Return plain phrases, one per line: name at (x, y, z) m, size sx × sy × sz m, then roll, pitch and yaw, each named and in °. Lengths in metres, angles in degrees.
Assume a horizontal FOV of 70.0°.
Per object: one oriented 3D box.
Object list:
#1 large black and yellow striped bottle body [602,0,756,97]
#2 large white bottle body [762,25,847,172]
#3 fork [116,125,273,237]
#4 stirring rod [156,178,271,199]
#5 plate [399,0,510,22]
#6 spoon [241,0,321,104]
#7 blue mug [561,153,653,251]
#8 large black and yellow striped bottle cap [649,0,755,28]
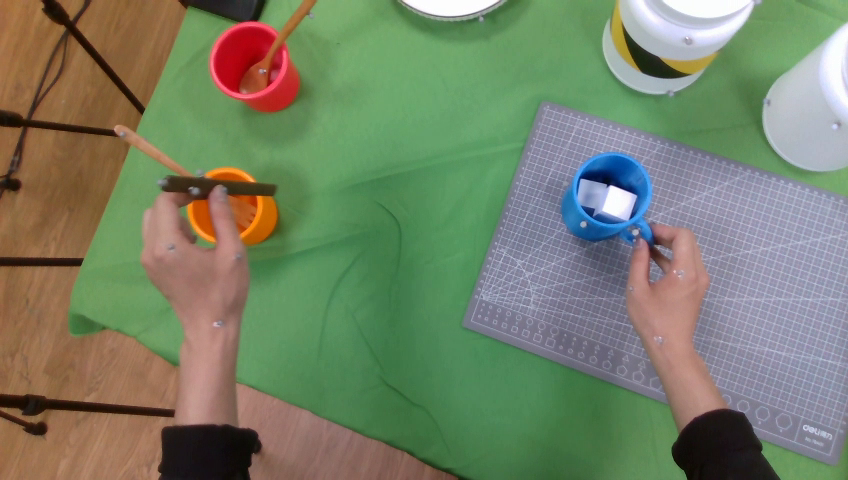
large black and yellow striped bottle body at (0.278, -0.250, 0.666) m, size 0.130 × 0.184 × 0.130 m, roll -1°, pitch 83°, yaw 6°
large white bottle body at (0.460, -0.154, 0.637) m, size 0.130 × 0.185 × 0.130 m, roll -1°, pitch 83°, yaw 6°
fork at (-0.265, -0.067, 0.714) m, size 0.209 × 0.018 × 0.028 m, roll 40°, pitch 88°, yaw -35°
stirring rod at (-0.186, -0.046, 0.558) m, size 0.006 × 0.176 × 0.014 m, roll 22°, pitch 98°, yaw 12°
plate at (0.043, -0.375, 0.777) m, size 0.207 × 0.039 × 0.207 m, roll -1°, pitch 84°, yaw 6°
spoon at (-0.174, -0.228, 0.727) m, size 0.194 × 0.022 × 0.041 m, roll -35°, pitch 74°, yaw 45°
blue mug at (0.214, -0.033, 0.685) m, size 0.082 × 0.106 × 0.116 m, roll -41°, pitch 82°, yaw -1°
large black and yellow striped bottle cap at (0.270, -0.262, 0.584) m, size 0.115 × 0.019 × 0.114 m, roll 0°, pitch 85°, yaw 5°
